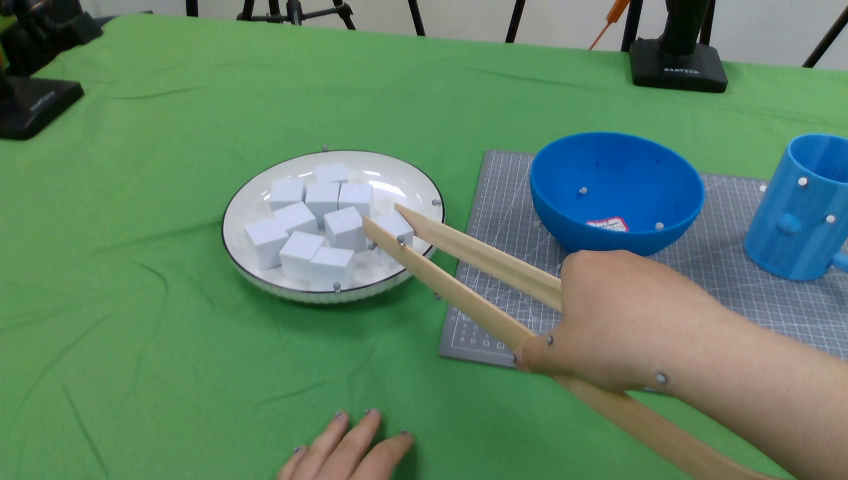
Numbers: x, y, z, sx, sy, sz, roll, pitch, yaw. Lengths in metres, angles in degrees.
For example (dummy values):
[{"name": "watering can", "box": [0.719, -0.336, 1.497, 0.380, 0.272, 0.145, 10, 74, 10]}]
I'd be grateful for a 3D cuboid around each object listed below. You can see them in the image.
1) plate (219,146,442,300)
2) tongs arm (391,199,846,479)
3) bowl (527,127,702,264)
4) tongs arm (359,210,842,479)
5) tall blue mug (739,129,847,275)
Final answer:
[{"name": "plate", "box": [-0.086, -0.018, 0.580, 0.209, 0.038, 0.207, 1, 43, 0]}, {"name": "tongs arm", "box": [0.083, 0.039, 0.417, 0.028, 0.028, 0.383, -18, 31, -32]}, {"name": "bowl", "box": [0.167, -0.031, 0.561, 0.151, 0.077, 0.150, 0, 43, 0]}, {"name": "tongs arm", "box": [0.064, 0.047, 0.405, 0.051, 0.027, 0.380, -19, 31, -26]}, {"name": "tall blue mug", "box": [0.353, -0.028, 0.534, 0.106, 0.109, 0.077, 16, 45, 17]}]
